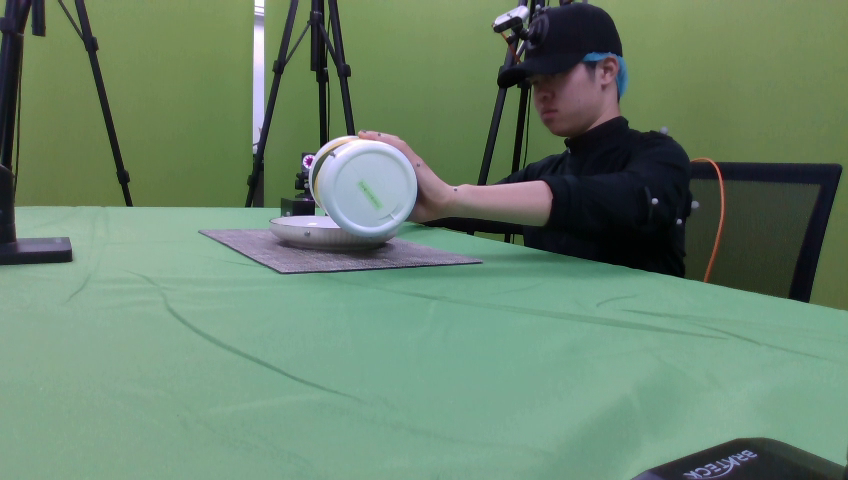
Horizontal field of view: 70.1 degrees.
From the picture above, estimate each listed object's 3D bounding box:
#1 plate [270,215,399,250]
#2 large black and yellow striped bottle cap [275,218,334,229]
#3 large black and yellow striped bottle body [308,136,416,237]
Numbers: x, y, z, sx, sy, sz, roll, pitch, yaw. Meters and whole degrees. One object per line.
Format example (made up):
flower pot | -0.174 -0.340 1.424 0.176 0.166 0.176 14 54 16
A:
plate | -0.145 -0.013 0.992 0.208 0.039 0.207 2 7 0
large black and yellow striped bottle cap | -0.236 -0.033 1.197 0.115 0.019 0.115 1 3 0
large black and yellow striped bottle body | -0.098 -0.084 0.882 0.131 0.130 0.183 0 12 -19
